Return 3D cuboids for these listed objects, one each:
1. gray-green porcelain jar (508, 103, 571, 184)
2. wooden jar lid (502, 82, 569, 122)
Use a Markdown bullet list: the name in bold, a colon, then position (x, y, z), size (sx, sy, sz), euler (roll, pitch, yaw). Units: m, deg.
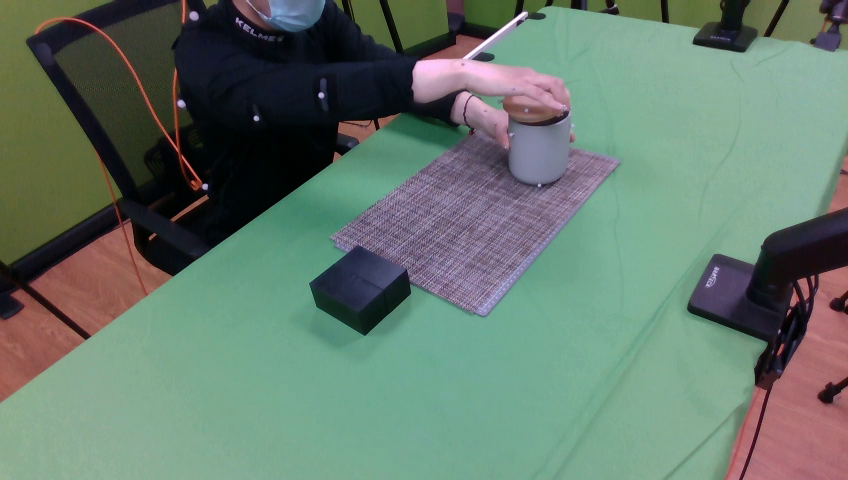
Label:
- **gray-green porcelain jar**: position (0.199, -0.169, 1.051), size (0.106, 0.127, 0.105), euler (-4, 41, 4)
- **wooden jar lid**: position (0.182, -0.224, 0.986), size (0.108, 0.021, 0.108), euler (-9, 39, 8)
